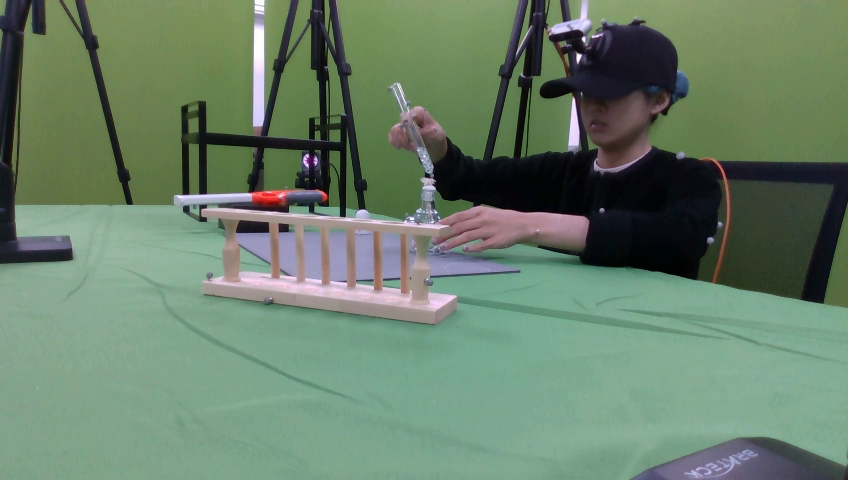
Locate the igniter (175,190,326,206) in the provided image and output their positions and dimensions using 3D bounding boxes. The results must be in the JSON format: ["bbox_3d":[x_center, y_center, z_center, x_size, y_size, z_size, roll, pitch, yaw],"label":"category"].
[{"bbox_3d":[-0.315,-0.079,1.128,0.278,0.025,0.057,-5,13,-34],"label":"igniter"}]

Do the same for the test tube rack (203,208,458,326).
[{"bbox_3d":[-0.090,0.019,0.579,0.241,0.085,0.067,5,7,19],"label":"test tube rack"}]

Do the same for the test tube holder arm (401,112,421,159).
[{"bbox_3d":[-0.020,-0.169,0.993,0.013,0.015,0.178,-18,-12,1],"label":"test tube holder arm"}]

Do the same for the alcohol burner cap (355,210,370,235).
[{"bbox_3d":[-0.116,-0.033,1.136,0.034,0.048,0.034,2,7,0],"label":"alcohol burner cap"}]

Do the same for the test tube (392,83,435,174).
[{"bbox_3d":[-0.016,-0.171,0.924,0.017,0.150,0.017,-22,-5,-2],"label":"test tube"}]

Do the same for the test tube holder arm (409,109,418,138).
[{"bbox_3d":[-0.017,-0.180,0.949,0.010,0.015,0.088,-17,-12,-6],"label":"test tube holder arm"}]

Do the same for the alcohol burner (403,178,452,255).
[{"bbox_3d":[0.005,-0.036,0.922,0.078,0.119,0.078,5,7,0],"label":"alcohol burner"}]
